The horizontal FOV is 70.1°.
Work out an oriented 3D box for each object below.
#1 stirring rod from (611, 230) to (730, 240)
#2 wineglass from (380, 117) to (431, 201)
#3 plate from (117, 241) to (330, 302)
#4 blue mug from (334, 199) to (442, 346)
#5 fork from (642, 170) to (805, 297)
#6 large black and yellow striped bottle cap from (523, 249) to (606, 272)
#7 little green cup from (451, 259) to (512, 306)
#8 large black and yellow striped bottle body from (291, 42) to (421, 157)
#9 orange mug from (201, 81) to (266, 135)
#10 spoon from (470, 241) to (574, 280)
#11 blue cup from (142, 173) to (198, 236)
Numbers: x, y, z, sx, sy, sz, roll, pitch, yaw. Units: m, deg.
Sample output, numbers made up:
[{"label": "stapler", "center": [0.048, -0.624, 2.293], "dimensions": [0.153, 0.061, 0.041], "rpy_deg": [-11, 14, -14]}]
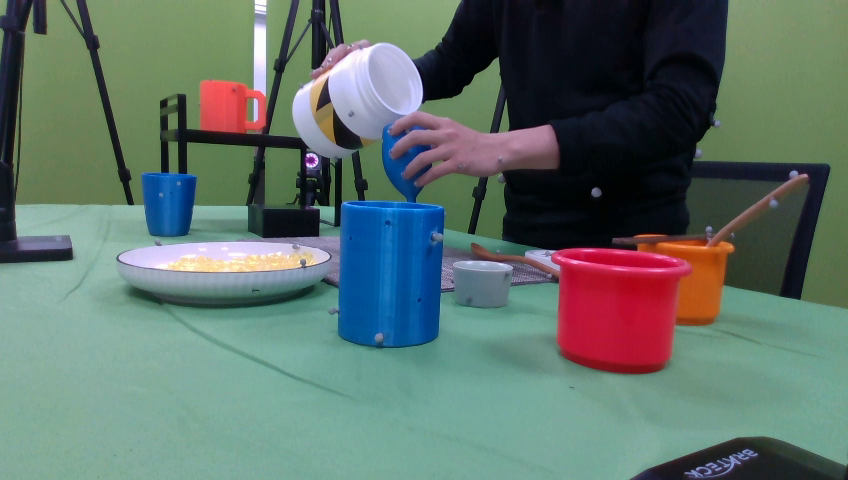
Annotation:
[{"label": "stirring rod", "center": [0.241, -0.005, 0.581], "dimensions": [0.177, 0.006, 0.014], "rpy_deg": [-2, 10, -34]}, {"label": "wineglass", "center": [-0.021, -0.078, 0.841], "dimensions": [0.074, 0.172, 0.074], "rpy_deg": [-6, -5, 0]}, {"label": "plate", "center": [-0.203, 0.031, 0.630], "dimensions": [0.209, 0.038, 0.209], "rpy_deg": [3, 7, 0]}, {"label": "blue mug", "center": [-0.034, 0.020, 0.498], "dimensions": [0.083, 0.106, 0.116], "rpy_deg": [0, 7, -20]}, {"label": "fork", "center": [0.261, 0.004, 0.545], "dimensions": [0.028, 0.018, 0.207], "rpy_deg": [5, -37, -15]}, {"label": "large black and yellow striped bottle cap", "center": [0.198, 0.028, 0.851], "dimensions": [0.115, 0.019, 0.115], "rpy_deg": [5, 5, 0]}, {"label": "little green cup", "center": [0.057, 0.043, 0.611], "dimensions": [0.061, 0.038, 0.061], "rpy_deg": [3, 8, 0]}, {"label": "large black and yellow striped bottle body", "center": [-0.104, -0.215, 0.935], "dimensions": [0.131, 0.130, 0.183], "rpy_deg": [-5, -9, -45]}, {"label": "orange mug", "center": [-0.377, -0.260, 1.198], "dimensions": [0.126, 0.101, 0.083], "rpy_deg": [-2, 7, -6]}, {"label": "spoon", "center": [0.124, 0.025, 0.800], "dimensions": [0.042, 0.021, 0.192], "rpy_deg": [22, -5, -34]}, {"label": "blue cup", "center": [-0.425, -0.060, 1.014], "dimensions": [0.093, 0.100, 0.092], "rpy_deg": [4, 9, 0]}]
